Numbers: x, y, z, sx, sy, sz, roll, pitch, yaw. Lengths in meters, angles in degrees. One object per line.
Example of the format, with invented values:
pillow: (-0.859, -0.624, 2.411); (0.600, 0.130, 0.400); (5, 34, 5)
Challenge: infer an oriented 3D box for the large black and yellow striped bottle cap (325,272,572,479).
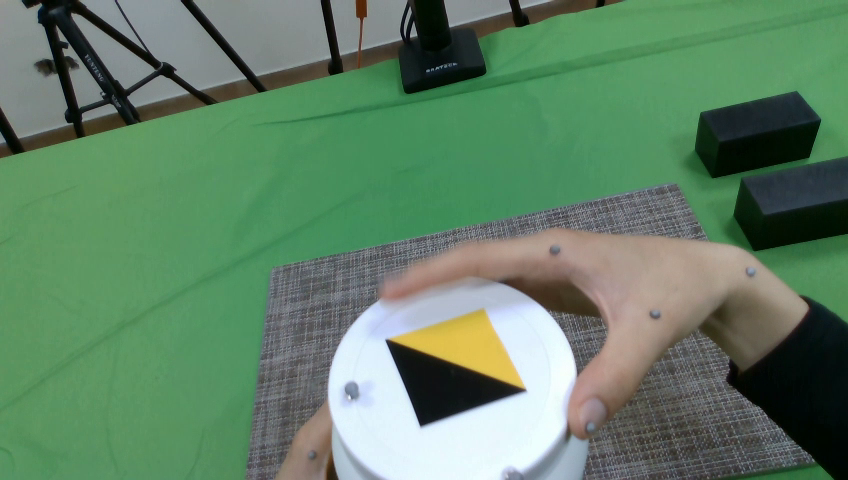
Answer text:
large black and yellow striped bottle cap: (0.011, 0.061, 0.284); (0.115, 0.019, 0.114); (-3, 45, 3)

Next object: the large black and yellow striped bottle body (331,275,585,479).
large black and yellow striped bottle body: (0.022, 0.118, 0.344); (0.131, 0.186, 0.129); (-4, 46, 5)
